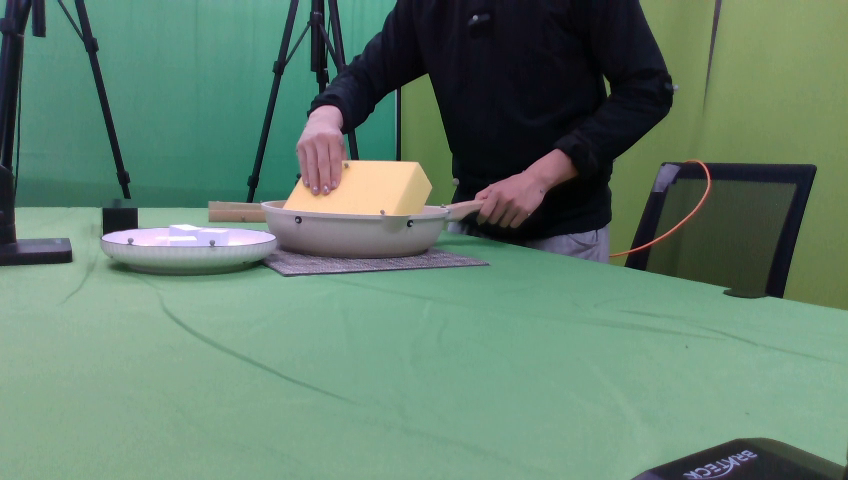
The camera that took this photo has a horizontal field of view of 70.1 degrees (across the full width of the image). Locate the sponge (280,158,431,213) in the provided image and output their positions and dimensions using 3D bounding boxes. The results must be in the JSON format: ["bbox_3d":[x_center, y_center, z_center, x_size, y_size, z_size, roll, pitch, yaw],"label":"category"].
[{"bbox_3d":[-0.108,-0.062,0.930,0.206,0.118,0.061,5,-33,29],"label":"sponge"}]

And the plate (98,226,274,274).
[{"bbox_3d":[-0.301,0.012,0.778,0.208,0.039,0.207,3,7,0],"label":"plate"}]

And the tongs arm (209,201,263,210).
[{"bbox_3d":[-0.306,-0.070,1.429,0.386,0.026,0.050,2,8,-15],"label":"tongs arm"}]

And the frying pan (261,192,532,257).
[{"bbox_3d":[-0.016,-0.043,1.006,0.490,0.102,0.305,-11,13,-26],"label":"frying pan"}]

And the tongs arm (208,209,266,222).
[{"bbox_3d":[-0.280,-0.055,1.354,0.389,0.028,0.028,-1,6,-28],"label":"tongs arm"}]
